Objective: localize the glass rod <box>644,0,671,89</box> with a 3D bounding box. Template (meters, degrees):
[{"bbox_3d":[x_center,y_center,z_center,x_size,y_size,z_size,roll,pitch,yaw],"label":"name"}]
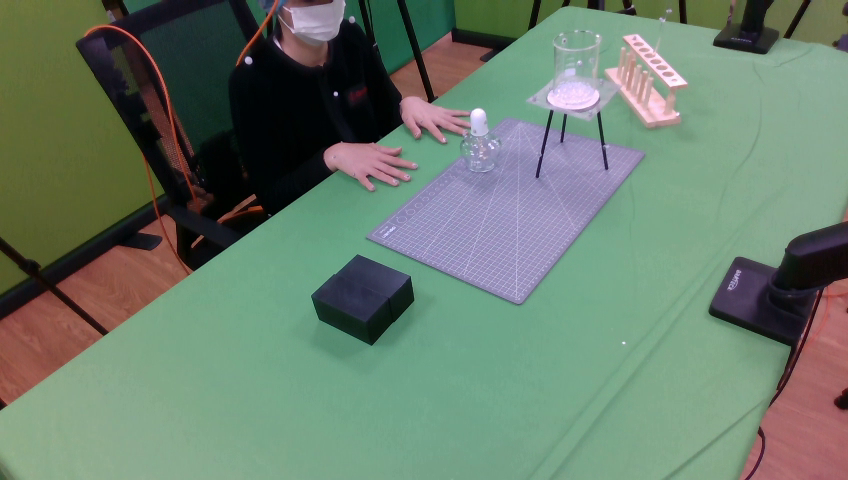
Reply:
[{"bbox_3d":[0.463,-0.387,1.204,0.008,0.200,0.008,0,47,1],"label":"glass rod"}]

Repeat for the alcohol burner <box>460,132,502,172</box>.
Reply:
[{"bbox_3d":[0.102,-0.185,1.098,0.078,0.119,0.077,-6,40,5],"label":"alcohol burner"}]

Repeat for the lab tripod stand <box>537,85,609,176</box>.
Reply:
[{"bbox_3d":[0.259,-0.192,1.068,0.148,0.132,0.147,-4,42,4],"label":"lab tripod stand"}]

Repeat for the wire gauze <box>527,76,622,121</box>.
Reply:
[{"bbox_3d":[0.255,-0.247,1.031,0.124,0.011,0.122,23,49,34],"label":"wire gauze"}]

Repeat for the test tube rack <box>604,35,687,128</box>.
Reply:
[{"bbox_3d":[0.447,-0.330,1.241,0.067,0.085,0.241,-9,41,-2],"label":"test tube rack"}]

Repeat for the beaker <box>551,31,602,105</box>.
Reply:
[{"bbox_3d":[0.252,-0.282,0.998,0.084,0.101,0.073,-16,42,-7],"label":"beaker"}]

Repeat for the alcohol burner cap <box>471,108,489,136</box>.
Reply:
[{"bbox_3d":[0.098,-0.211,1.074,0.034,0.048,0.033,-6,42,6],"label":"alcohol burner cap"}]
